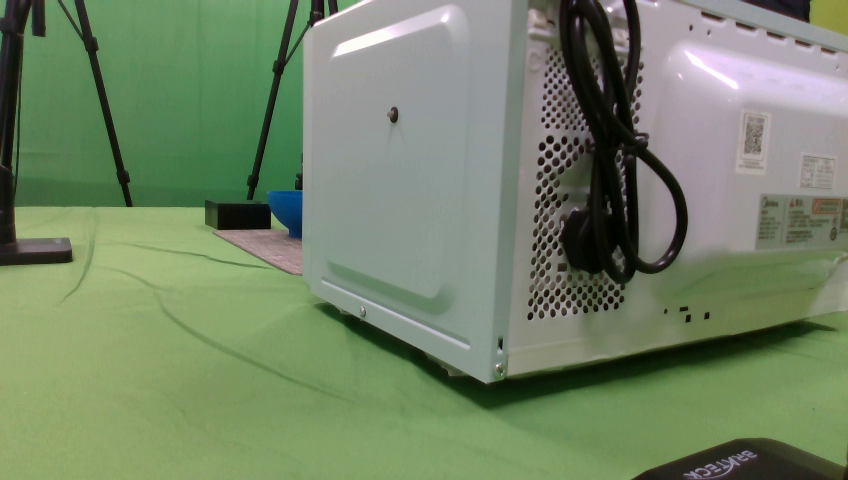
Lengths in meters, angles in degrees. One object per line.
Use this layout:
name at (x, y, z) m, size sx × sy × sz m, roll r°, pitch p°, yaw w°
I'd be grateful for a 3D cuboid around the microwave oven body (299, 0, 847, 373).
microwave oven body at (0.152, -0.055, 0.542) m, size 0.444 × 0.260 × 0.324 m, roll -2°, pitch 7°, yaw -33°

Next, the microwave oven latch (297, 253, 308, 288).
microwave oven latch at (-0.081, 0.028, 0.576) m, size 0.079 × 0.029 × 0.030 m, roll 0°, pitch 6°, yaw -20°

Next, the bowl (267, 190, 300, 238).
bowl at (-0.202, -0.046, 1.069) m, size 0.151 × 0.077 × 0.151 m, roll 3°, pitch 7°, yaw 0°

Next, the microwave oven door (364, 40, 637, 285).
microwave oven door at (0.105, -0.081, 0.694) m, size 0.358 × 0.243 × 0.039 m, roll -2°, pitch 9°, yaw -30°
